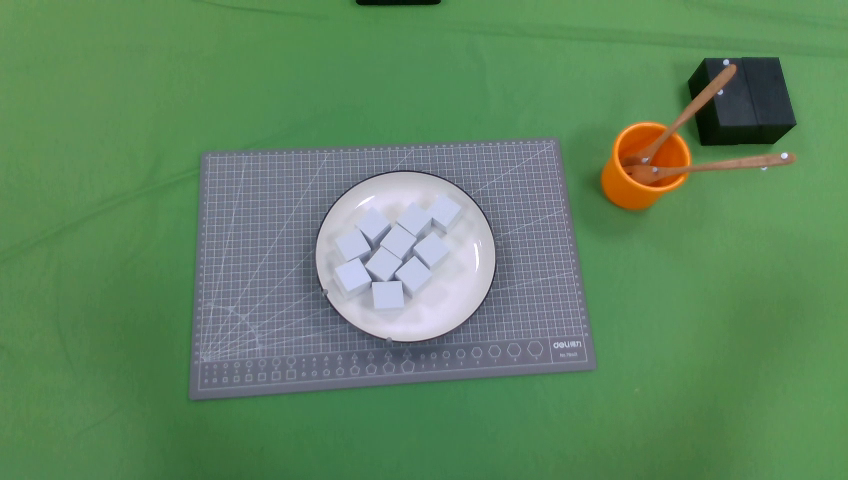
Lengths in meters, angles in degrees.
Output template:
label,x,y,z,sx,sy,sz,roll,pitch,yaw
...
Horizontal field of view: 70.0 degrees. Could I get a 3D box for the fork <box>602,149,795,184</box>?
label,x,y,z,sx,sy,sz,roll,pitch,yaw
fork,0.304,-0.086,0.693,0.206,0.019,0.028,-3,84,41

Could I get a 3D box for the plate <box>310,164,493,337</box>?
label,x,y,z,sx,sy,sz,roll,pitch,yaw
plate,-0.025,0.013,0.702,0.208,0.039,0.206,1,71,-3

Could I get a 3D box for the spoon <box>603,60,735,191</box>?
label,x,y,z,sx,sy,sz,roll,pitch,yaw
spoon,0.286,-0.131,0.712,0.041,0.194,0.022,51,33,17
